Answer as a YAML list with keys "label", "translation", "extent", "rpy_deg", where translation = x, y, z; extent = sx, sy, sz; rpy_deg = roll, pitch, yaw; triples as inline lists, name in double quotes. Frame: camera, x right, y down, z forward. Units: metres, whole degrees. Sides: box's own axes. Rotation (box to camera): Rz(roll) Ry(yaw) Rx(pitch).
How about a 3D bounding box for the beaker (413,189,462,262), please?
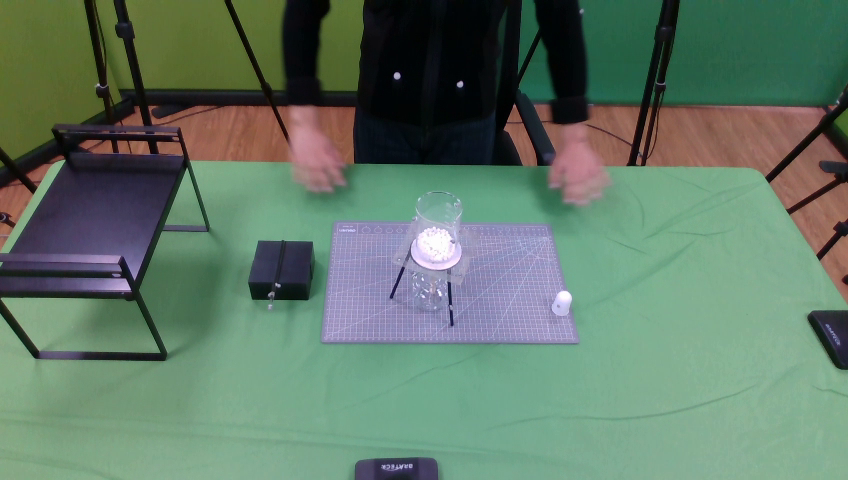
- label: "beaker"
  translation: [0.022, -0.018, 0.973]
  extent: [0.074, 0.101, 0.083]
  rpy_deg: [-19, 51, -19]

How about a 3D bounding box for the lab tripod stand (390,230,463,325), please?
- label: "lab tripod stand"
  translation: [0.014, 0.060, 1.056]
  extent: [0.148, 0.132, 0.147]
  rpy_deg: [1, 48, -1]

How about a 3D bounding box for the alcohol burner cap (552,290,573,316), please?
- label: "alcohol burner cap"
  translation: [0.250, 0.109, 1.088]
  extent: [0.034, 0.048, 0.033]
  rpy_deg: [3, 46, -3]

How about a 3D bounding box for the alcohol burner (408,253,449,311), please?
- label: "alcohol burner"
  translation: [0.011, 0.069, 1.061]
  extent: [0.078, 0.120, 0.077]
  rpy_deg: [1, 46, 0]

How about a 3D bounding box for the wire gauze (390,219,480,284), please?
- label: "wire gauze"
  translation: [0.020, 0.013, 1.011]
  extent: [0.125, 0.011, 0.121]
  rpy_deg: [14, 46, 14]

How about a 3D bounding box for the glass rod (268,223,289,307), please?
- label: "glass rod"
  translation: [-0.259, 0.041, 1.080]
  extent: [0.008, 0.008, 0.198]
  rpy_deg: [2, 46, -2]
